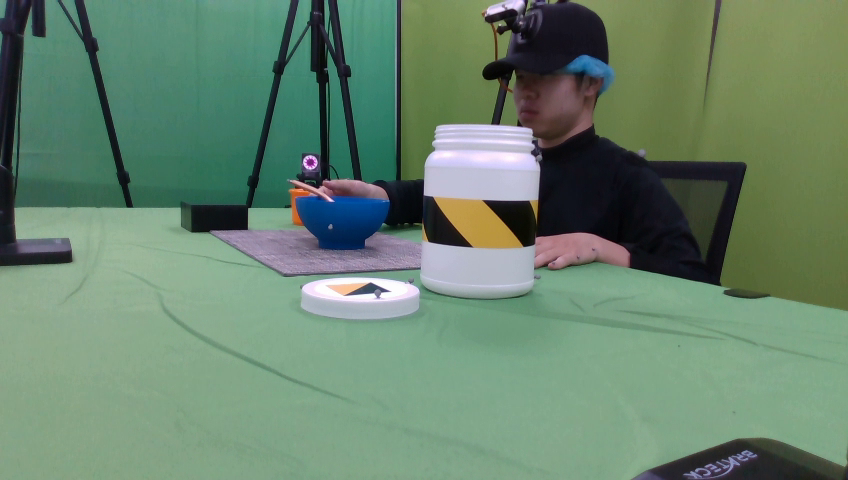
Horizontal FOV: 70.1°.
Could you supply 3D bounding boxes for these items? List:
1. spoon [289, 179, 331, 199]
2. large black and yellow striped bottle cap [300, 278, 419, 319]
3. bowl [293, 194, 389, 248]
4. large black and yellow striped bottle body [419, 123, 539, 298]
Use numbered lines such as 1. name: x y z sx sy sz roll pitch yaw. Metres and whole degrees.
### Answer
1. spoon: -0.167 -0.071 1.002 0.042 0.021 0.192 -9 31 -43
2. large black and yellow striped bottle cap: -0.062 0.055 0.588 0.115 0.019 0.115 1 6 0
3. bowl: -0.132 -0.030 0.961 0.151 0.077 0.151 3 7 0
4. large black and yellow striped bottle body: 0.062 -0.036 0.683 0.131 0.184 0.130 2 7 0
